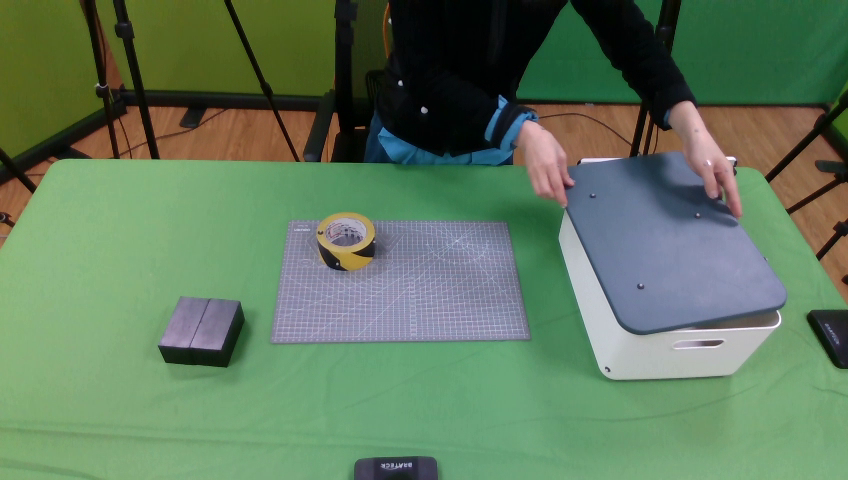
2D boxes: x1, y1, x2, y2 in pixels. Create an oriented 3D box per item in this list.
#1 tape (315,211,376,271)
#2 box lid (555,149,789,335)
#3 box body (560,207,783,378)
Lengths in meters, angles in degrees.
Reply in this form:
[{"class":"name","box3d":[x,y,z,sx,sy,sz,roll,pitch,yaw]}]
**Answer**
[{"class":"tape","box3d":[-0.150,0.000,1.160,0.117,0.053,0.116,3,46,-3]},{"class":"box lid","box3d":[0.390,-0.014,1.001,0.263,0.015,0.369,-10,49,-3]},{"class":"box body","box3d":[0.405,0.057,1.074,0.254,0.161,0.361,-2,46,-5]}]
